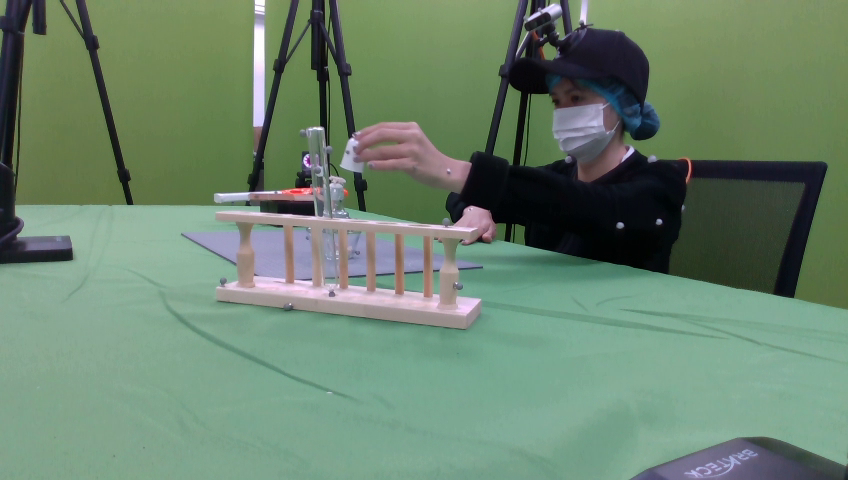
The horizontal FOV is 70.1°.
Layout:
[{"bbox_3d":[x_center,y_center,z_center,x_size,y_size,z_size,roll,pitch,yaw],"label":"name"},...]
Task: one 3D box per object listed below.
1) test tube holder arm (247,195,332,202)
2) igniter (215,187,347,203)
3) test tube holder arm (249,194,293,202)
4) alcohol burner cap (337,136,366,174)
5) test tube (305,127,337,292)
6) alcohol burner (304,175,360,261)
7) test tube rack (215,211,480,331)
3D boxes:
[{"bbox_3d":[-0.269,-0.085,1.231,0.179,0.015,0.013,-2,2,-35],"label":"test tube holder arm"},{"bbox_3d":[-0.293,-0.095,1.267,0.278,0.025,0.057,-6,11,-33],"label":"igniter"},{"bbox_3d":[-0.303,-0.084,1.200,0.088,0.015,0.010,-2,2,-35],"label":"test tube holder arm"},{"bbox_3d":[-0.096,-0.116,0.816,0.034,0.048,0.034,16,13,-3],"label":"alcohol burner cap"},{"bbox_3d":[-0.092,-0.026,0.546,0.017,0.150,0.017,-4,9,1],"label":"test tube"},{"bbox_3d":[-0.126,-0.031,0.838,0.078,0.119,0.078,3,5,0],"label":"alcohol burner"},{"bbox_3d":[-0.071,0.022,0.565,0.242,0.085,0.067,5,7,16],"label":"test tube rack"}]
